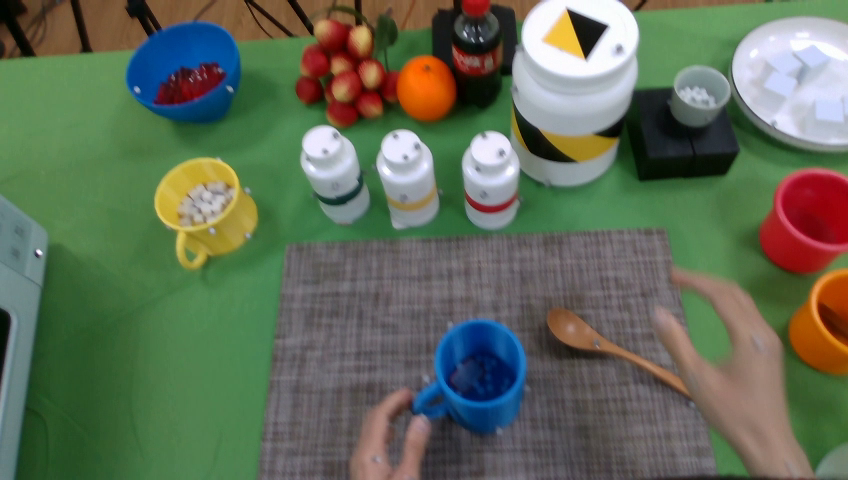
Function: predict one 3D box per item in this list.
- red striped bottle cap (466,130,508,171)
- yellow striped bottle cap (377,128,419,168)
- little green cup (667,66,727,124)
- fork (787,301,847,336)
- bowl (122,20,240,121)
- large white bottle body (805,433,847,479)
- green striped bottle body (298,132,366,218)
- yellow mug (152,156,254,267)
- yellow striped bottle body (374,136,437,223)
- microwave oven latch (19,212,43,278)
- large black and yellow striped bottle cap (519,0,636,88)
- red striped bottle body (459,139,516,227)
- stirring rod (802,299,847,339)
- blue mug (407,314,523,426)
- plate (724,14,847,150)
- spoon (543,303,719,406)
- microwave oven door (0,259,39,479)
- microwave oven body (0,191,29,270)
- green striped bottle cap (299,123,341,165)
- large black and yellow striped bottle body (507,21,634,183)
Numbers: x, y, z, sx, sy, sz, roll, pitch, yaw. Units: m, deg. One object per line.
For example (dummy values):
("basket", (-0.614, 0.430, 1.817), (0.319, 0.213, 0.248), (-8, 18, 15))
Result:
("red striped bottle cap", (0.067, -0.095, 0.638), (0.044, 0.018, 0.044), (-1, 61, 1))
("yellow striped bottle cap", (-0.028, -0.099, 0.650), (0.044, 0.019, 0.044), (0, 59, 1))
("little green cup", (0.312, -0.165, 0.699), (0.061, 0.039, 0.061), (-2, 60, 3))
("fork", (0.431, 0.092, 0.548), (0.028, 0.019, 0.206), (-37, 21, -13))
("bowl", (-0.314, -0.215, 0.822), (0.151, 0.077, 0.150), (-2, 62, 4))
("large white bottle body", (0.406, 0.201, 0.473), (0.130, 0.186, 0.129), (-2, 62, 4))
("green striped bottle body", (-0.108, -0.081, 0.708), (0.063, 0.120, 0.062), (-2, 62, 4))
("yellow mug", (-0.268, -0.029, 0.727), (0.100, 0.064, 0.130), (6, 64, 9))
("yellow striped bottle body", (-0.021, -0.075, 0.696), (0.063, 0.121, 0.062), (-3, 62, 5))
("microwave oven latch", (-0.479, 0.008, 0.724), (0.030, 0.030, 0.078), (-9, 63, 0))
("large black and yellow striped bottle cap", (0.154, -0.204, 0.612), (0.115, 0.019, 0.114), (-4, 63, 7))
("red striped bottle body", (0.073, -0.070, 0.684), (0.063, 0.121, 0.062), (-4, 61, 7))
("stirring rod", (0.401, 0.093, 0.558), (0.014, 0.006, 0.175), (0, 19, 3))
("blue mug", (0.037, 0.135, 0.585), (0.116, 0.107, 0.081), (-25, 62, -7))
("plate", (0.481, -0.194, 0.755), (0.209, 0.038, 0.207), (-2, 63, 5))
("spoon", (0.210, 0.119, 0.623), (0.192, 0.022, 0.041), (26, 47, 17))
("microwave oven door", (-0.455, 0.151, 0.532), (0.039, 0.246, 0.352), (-11, 62, 1))
("microwave oven body", (-0.605, 0.143, 0.556), (0.326, 0.262, 0.437), (-11, 63, 0))
("green striped bottle cap", (-0.114, -0.105, 0.662), (0.044, 0.020, 0.044), (-1, 62, 3))
("large black and yellow striped bottle body", (0.162, -0.165, 0.689), (0.131, 0.185, 0.129), (-2, 62, 5))
